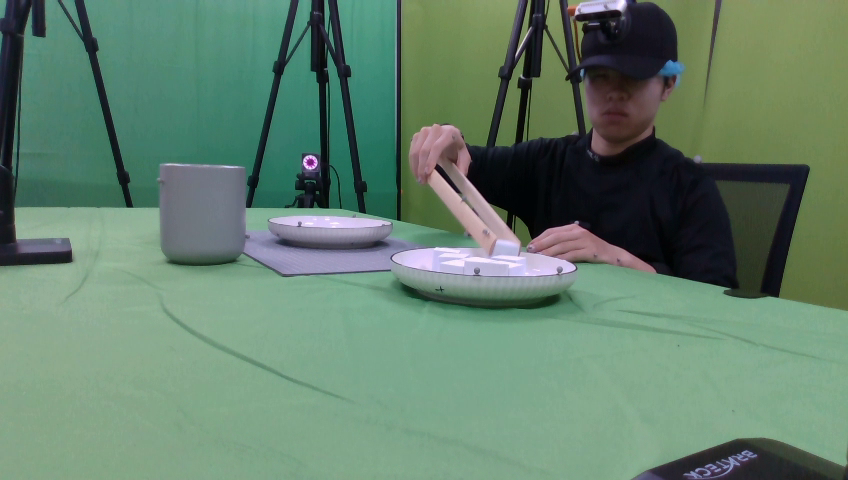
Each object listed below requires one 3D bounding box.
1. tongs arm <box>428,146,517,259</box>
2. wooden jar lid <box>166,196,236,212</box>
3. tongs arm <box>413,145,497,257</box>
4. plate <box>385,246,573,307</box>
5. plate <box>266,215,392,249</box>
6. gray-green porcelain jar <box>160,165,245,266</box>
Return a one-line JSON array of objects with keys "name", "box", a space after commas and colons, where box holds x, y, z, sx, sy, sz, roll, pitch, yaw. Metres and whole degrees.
[{"name": "tongs arm", "box": [0.063, -0.068, 0.882, 0.028, 0.028, 0.386, 4, 24, -16]}, {"name": "wooden jar lid", "box": [-0.369, -0.059, 1.001, 0.108, 0.020, 0.108, 3, 6, 0]}, {"name": "tongs arm", "box": [0.043, -0.071, 0.875, 0.051, 0.026, 0.383, 5, 24, -22]}, {"name": "plate", "box": [0.060, 0.041, 0.678, 0.208, 0.039, 0.207, 3, 7, 0]}, {"name": "plate", "box": [-0.159, -0.015, 1.019, 0.209, 0.038, 0.209, 3, 7, 0]}, {"name": "gray-green porcelain jar", "box": [-0.291, -0.034, 0.799, 0.106, 0.126, 0.106, 2, 8, 0]}]
